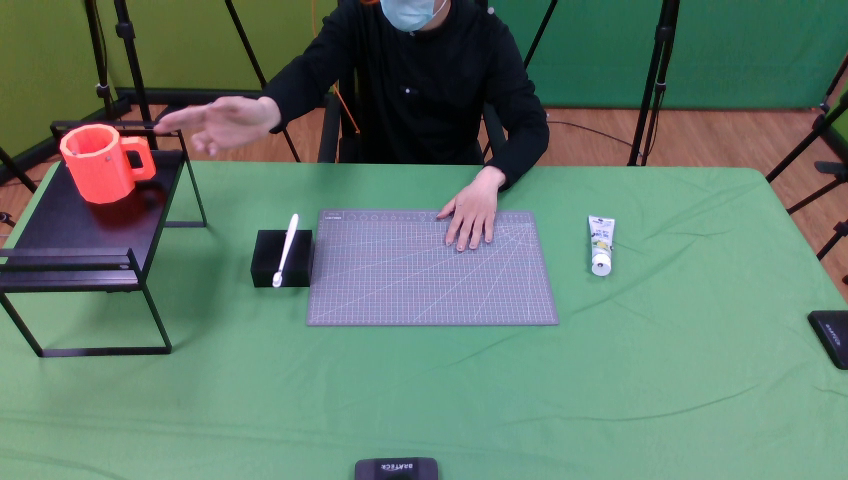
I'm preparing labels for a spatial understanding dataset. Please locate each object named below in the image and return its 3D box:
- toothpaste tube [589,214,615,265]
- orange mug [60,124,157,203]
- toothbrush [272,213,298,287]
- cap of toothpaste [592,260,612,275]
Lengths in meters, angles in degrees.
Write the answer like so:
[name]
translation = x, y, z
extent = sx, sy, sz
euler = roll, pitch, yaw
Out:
[toothpaste tube]
translation = 0.360, 0.002, 1.220
extent = 0.055, 0.035, 0.164
euler = 14, 43, 3
[orange mug]
translation = -0.505, -0.127, 0.980
extent = 0.126, 0.101, 0.083
euler = -13, 48, -10
[toothbrush]
translation = -0.252, 0.012, 1.104
extent = 0.014, 0.017, 0.181
euler = 1, 46, 3
[cap of toothpaste]
translation = 0.341, 0.052, 1.162
extent = 0.037, 0.037, 0.011
euler = 10, 43, 6
